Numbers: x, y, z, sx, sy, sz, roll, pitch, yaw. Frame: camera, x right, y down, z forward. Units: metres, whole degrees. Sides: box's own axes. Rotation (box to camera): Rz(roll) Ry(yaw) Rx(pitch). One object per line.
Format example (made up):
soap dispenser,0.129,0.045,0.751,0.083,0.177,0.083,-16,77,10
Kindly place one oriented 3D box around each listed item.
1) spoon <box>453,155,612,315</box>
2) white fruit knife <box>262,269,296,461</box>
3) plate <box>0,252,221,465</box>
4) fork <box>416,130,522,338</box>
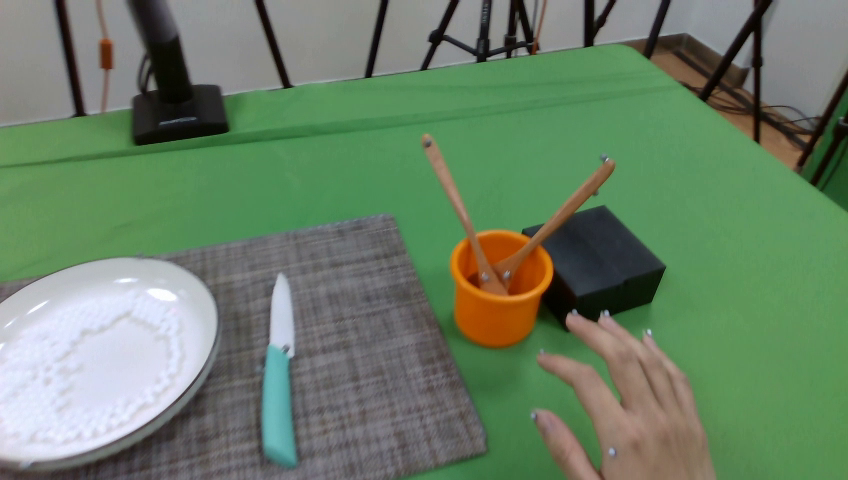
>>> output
spoon,0.098,-0.003,0.550,0.041,0.194,0.021,45,17,3
white fruit knife,-0.128,0.097,0.531,0.027,0.016,0.205,19,33,-28
plate,-0.276,0.094,0.508,0.209,0.038,0.207,1,42,-1
fork,0.039,-0.006,0.556,0.028,0.018,0.207,-25,93,-12
